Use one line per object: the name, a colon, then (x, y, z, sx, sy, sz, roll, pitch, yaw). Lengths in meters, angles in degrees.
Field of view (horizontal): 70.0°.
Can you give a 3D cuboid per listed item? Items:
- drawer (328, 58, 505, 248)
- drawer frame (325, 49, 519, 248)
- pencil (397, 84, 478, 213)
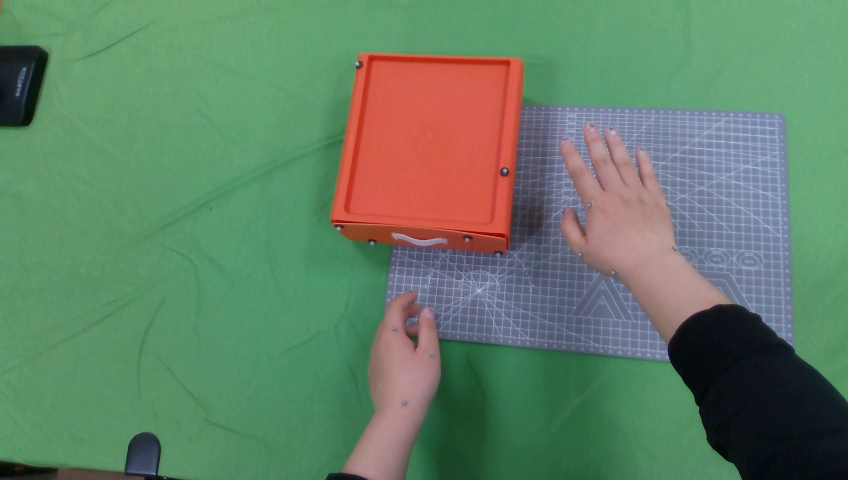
drawer: (0.004, -0.102, 0.711, 0.194, 0.074, 0.210, 5, 75, 9)
drawer frame: (0.003, -0.108, 0.712, 0.201, 0.083, 0.212, 4, 76, 10)
pencil: (0.017, -0.113, 0.739, 0.012, 0.012, 0.193, -30, 76, -1)
